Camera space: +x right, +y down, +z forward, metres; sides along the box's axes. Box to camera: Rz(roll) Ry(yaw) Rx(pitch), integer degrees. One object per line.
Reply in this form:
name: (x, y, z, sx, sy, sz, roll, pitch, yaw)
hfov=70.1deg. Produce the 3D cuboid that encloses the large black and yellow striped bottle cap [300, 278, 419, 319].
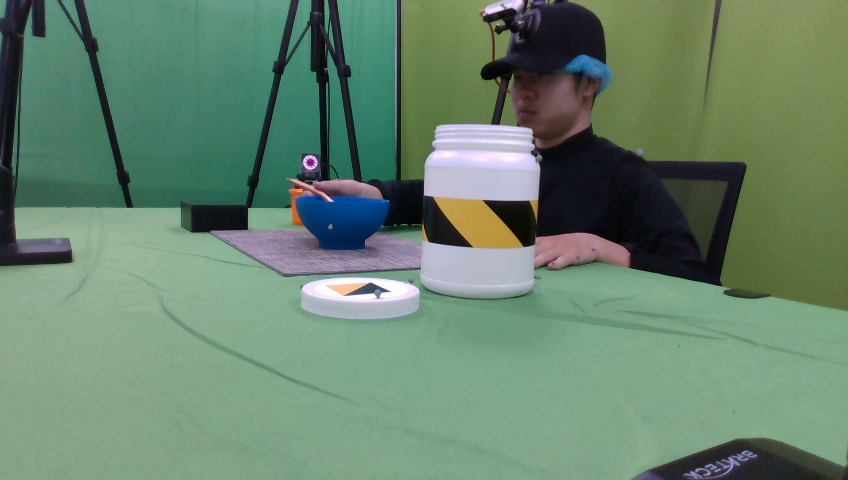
large black and yellow striped bottle cap: (-0.062, 0.055, 0.588, 0.115, 0.019, 0.115, 1, 6, 0)

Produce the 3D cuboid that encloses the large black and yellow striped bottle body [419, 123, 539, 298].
large black and yellow striped bottle body: (0.062, -0.036, 0.683, 0.131, 0.184, 0.130, 2, 7, 0)

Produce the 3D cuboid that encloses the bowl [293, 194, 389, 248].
bowl: (-0.132, -0.030, 0.961, 0.151, 0.077, 0.151, 3, 7, 0)

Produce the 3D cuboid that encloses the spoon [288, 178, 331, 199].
spoon: (-0.168, -0.071, 1.003, 0.042, 0.021, 0.192, -4, 28, -45)
